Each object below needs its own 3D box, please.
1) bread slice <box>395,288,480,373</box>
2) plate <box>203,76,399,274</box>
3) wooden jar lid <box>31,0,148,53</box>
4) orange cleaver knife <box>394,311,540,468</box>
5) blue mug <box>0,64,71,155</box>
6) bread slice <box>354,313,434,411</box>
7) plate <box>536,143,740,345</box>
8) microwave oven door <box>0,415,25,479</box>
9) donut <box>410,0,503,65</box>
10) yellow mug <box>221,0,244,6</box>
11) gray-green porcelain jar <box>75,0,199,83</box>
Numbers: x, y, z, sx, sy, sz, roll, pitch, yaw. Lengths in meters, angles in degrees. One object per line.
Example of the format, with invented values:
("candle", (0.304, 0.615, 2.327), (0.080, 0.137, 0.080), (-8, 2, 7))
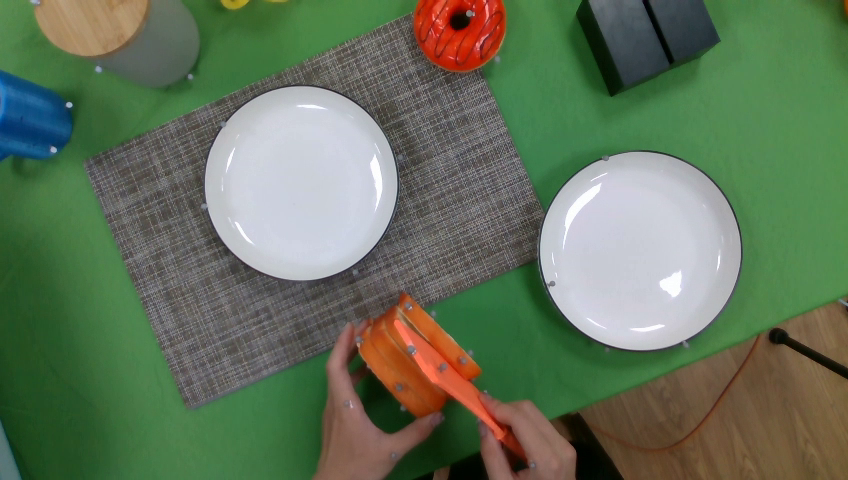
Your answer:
("bread slice", (0.013, 0.093, 0.602), (0.107, 0.134, 0.018), (45, 84, -4))
("plate", (-0.129, -0.067, 0.651), (0.207, 0.039, 0.207), (0, 91, 3))
("wooden jar lid", (-0.302, -0.224, 0.554), (0.108, 0.021, 0.108), (0, 89, 4))
("orange cleaver knife", (0.041, 0.136, 0.536), (0.012, 0.076, 0.213), (-38, 124, 7))
("blue mug", (-0.452, -0.126, 0.634), (0.082, 0.106, 0.116), (41, 92, 2))
("bread slice", (-0.031, 0.122, 0.605), (0.019, 0.131, 0.105), (-42, 90, -1))
("plate", (0.221, 0.004, 0.640), (0.209, 0.038, 0.209), (0, 91, 3))
("microwave oven door", (-0.490, 0.197, 0.553), (0.039, 0.244, 0.355), (-21, 89, 3))
("donut", (0.035, -0.234, 0.638), (0.099, 0.048, 0.099), (0, 91, 2))
("yellow mug", (-0.176, -0.305, 0.640), (0.100, 0.064, 0.131), (35, 92, 2))
("gray-green porcelain jar", (-0.299, -0.223, 0.616), (0.106, 0.126, 0.106), (0, 90, 3))
